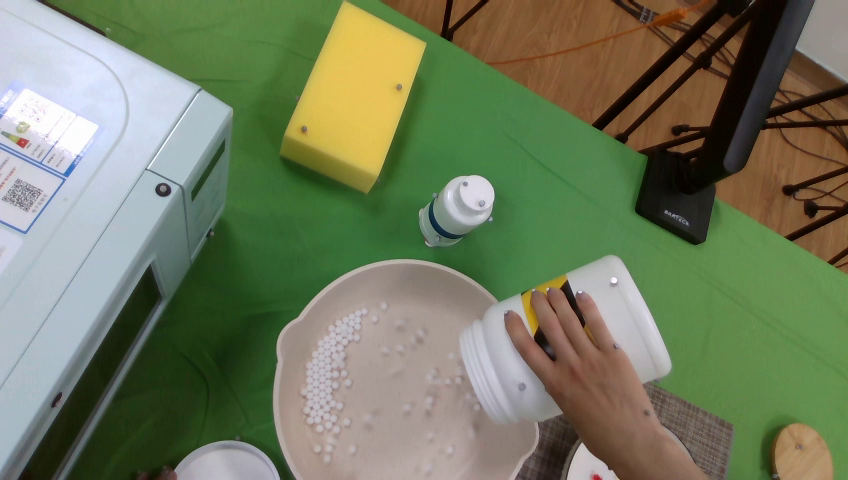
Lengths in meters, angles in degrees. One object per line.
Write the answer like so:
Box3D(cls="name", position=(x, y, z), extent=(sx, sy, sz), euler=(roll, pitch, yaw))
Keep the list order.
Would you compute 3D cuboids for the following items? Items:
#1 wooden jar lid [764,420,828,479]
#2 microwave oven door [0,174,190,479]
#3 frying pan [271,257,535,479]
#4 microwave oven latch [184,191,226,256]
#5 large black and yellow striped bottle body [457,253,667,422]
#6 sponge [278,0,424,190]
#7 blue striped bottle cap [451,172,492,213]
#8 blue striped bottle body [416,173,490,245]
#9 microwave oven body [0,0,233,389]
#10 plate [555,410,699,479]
Box3D(cls="wooden jar lid", position=(0.532, 0.315, 0.871), extent=(0.109, 0.021, 0.108), euler=(5, 74, -18))
Box3D(cls="microwave oven door", position=(-0.292, 0.134, 0.476), extent=(0.039, 0.244, 0.354), euler=(27, 67, -10))
Box3D(cls="frying pan", position=(-0.054, 0.250, 0.624), extent=(0.308, 0.103, 0.484), euler=(26, 60, -9))
Box3D(cls="microwave oven latch", position=(-0.243, -0.024, 0.651), extent=(0.030, 0.029, 0.079), euler=(30, 67, -10))
Box3D(cls="large black and yellow striped bottle body", position=(0.138, 0.106, 0.629), extent=(0.184, 0.131, 0.130), euler=(-25, 82, 12))
Box3D(cls="sponge", position=(-0.089, -0.182, 0.760), extent=(0.119, 0.061, 0.205), euler=(22, 69, -12))
Box3D(cls="blue striped bottle cap", position=(0.054, -0.054, 0.688), extent=(0.045, 0.020, 0.044), euler=(5, 74, -18))
Box3D(cls="blue striped bottle body", position=(0.038, -0.039, 0.734), extent=(0.063, 0.121, 0.062), euler=(6, 73, -18))
Box3D(cls="microwave oven body", position=(-0.406, 0.033, 0.469), extent=(0.327, 0.260, 0.439), euler=(28, 68, -11))
Box3D(cls="plate", position=(0.249, 0.319, 0.751), extent=(0.210, 0.038, 0.208), euler=(6, 73, -18))
